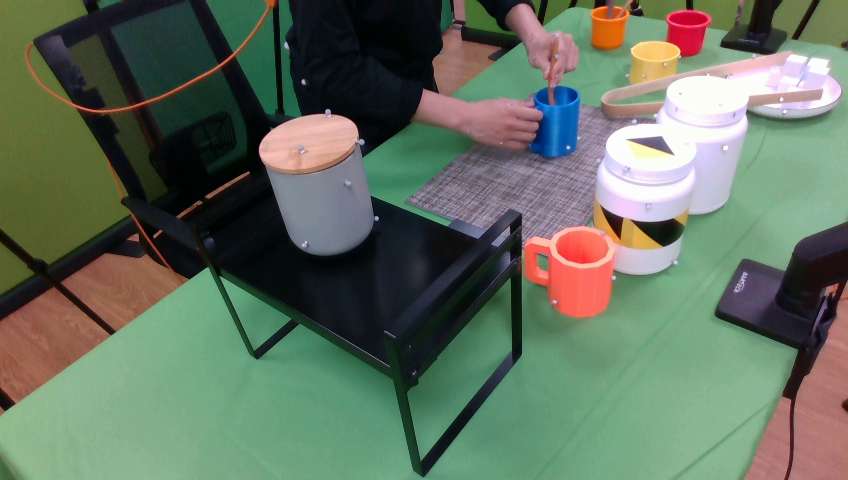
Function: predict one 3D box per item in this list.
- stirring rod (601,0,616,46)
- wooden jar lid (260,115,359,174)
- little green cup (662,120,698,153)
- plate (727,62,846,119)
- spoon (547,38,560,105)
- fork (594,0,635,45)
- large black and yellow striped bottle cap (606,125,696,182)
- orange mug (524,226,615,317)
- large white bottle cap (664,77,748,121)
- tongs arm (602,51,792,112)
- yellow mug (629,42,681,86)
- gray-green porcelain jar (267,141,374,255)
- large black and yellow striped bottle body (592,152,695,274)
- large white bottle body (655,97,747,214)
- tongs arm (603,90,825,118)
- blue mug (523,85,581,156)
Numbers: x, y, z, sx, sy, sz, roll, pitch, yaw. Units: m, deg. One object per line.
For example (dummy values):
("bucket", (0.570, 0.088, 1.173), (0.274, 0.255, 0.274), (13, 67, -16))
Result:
("stirring rod", (0.452, -0.554, 1.464), (0.014, 0.006, 0.176), (11, 86, 15))
("wooden jar lid", (-0.124, -0.101, 0.662), (0.108, 0.021, 0.108), (-4, 41, 4))
("little green cup", (0.470, -0.191, 1.117), (0.061, 0.039, 0.061), (-5, 40, 4))
("plate", (0.709, -0.292, 1.197), (0.207, 0.039, 0.206), (-4, 40, 4))
("spoon", (0.226, -0.265, 1.073), (0.021, 0.194, 0.041), (11, 45, 21))
("fork", (0.484, -0.552, 1.447), (0.207, 0.019, 0.028), (-51, 46, 17))
("large black and yellow striped bottle cap", (0.305, -0.119, 0.816), (0.115, 0.019, 0.114), (-5, 41, 5))
("orange mug", (0.201, 0.039, 0.845), (0.125, 0.101, 0.083), (18, 46, 21))
("large white bottle cap", (0.421, -0.212, 0.905), (0.115, 0.018, 0.114), (-4, 40, 4))
("tongs arm", (0.552, -0.320, 1.224), (0.384, 0.027, 0.050), (-10, 44, 7))
("yellow mug", (0.495, -0.389, 1.322), (0.100, 0.064, 0.130), (-14, 40, -6))
("gray-green porcelain jar", (-0.117, -0.054, 0.703), (0.106, 0.127, 0.105), (-4, 40, 4))
("large black and yellow striped bottle body", (0.313, -0.056, 0.872), (0.131, 0.185, 0.130), (-4, 41, 4))
("large white bottle body", (0.431, -0.148, 0.959), (0.130, 0.185, 0.130), (-4, 41, 4))
("tongs arm", (0.546, -0.262, 1.163), (0.386, 0.028, 0.028), (-1, 49, 18))
("blue mug", (0.233, -0.216, 1.125), (0.117, 0.106, 0.081), (-24, 43, -17))
